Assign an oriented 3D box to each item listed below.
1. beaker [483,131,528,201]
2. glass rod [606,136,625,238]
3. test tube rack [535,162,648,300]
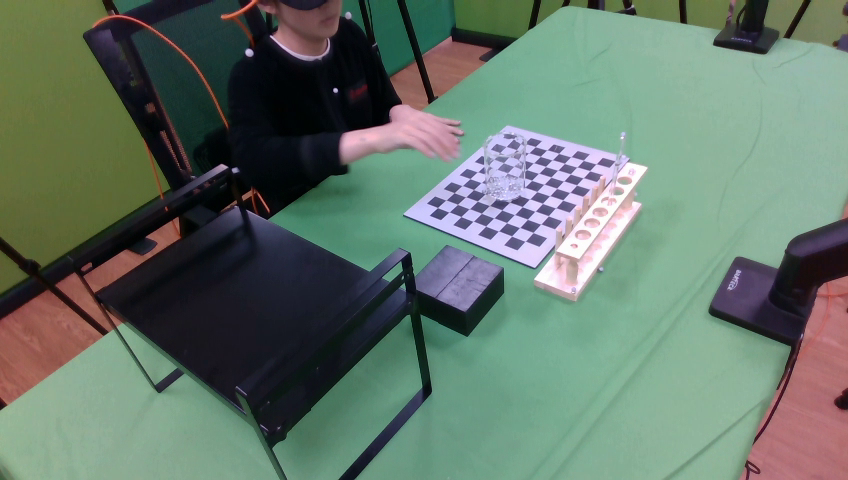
[{"bbox_3d":[0.143,-0.126,1.036,0.073,0.101,0.084,24,49,31],"label":"beaker"},{"bbox_3d":[0.273,-0.069,0.864,0.008,0.201,0.008,-5,48,6],"label":"glass rod"},{"bbox_3d":[0.257,-0.024,0.916,0.066,0.085,0.243,22,49,30],"label":"test tube rack"}]
